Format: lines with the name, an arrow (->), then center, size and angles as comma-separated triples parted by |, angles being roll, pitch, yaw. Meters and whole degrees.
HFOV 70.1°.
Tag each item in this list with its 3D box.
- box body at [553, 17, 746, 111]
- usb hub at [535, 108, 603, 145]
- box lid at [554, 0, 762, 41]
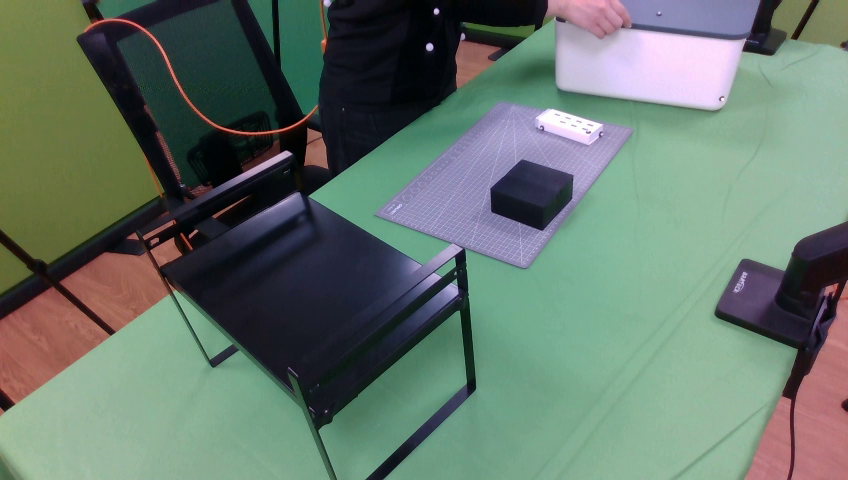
box body -> 0.481, -0.417, 1.281 | 0.362, 0.161, 0.254 | 15, 46, 24
usb hub -> 0.284, -0.224, 1.187 | 0.124, 0.025, 0.049 | 28, 52, 34
box lid -> 0.474, -0.480, 1.227 | 0.369, 0.015, 0.263 | 16, 46, 23
